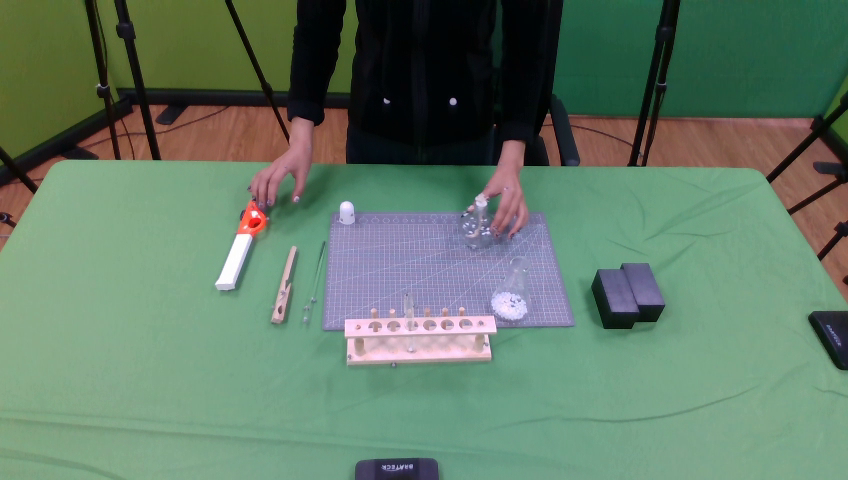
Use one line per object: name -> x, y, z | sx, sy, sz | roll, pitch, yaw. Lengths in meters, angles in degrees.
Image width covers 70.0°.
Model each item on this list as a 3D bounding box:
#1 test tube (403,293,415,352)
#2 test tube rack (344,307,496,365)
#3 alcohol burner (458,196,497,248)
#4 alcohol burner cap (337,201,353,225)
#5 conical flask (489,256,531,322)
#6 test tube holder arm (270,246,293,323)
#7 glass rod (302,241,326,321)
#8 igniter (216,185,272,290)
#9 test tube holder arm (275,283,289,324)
test tube -> -0.024, 0.133, 0.957 | 0.017, 0.151, 0.017 | 0, 48, 0
test tube rack -> -0.009, 0.154, 1.007 | 0.242, 0.085, 0.066 | -1, 46, -5
alcohol burner -> 0.107, -0.041, 1.181 | 0.078, 0.119, 0.077 | 3, 47, -3
alcohol burner cap -> -0.159, -0.056, 1.224 | 0.034, 0.048, 0.033 | 2, 47, -2
conical flask -> 0.158, 0.081, 1.061 | 0.075, 0.122, 0.075 | 2, 46, -2
test tube holder arm -> -0.259, 0.076, 1.106 | 0.013, 0.015, 0.177 | 28, 39, -27
glass rod -> -0.203, 0.071, 1.124 | 0.008, 0.008, 0.198 | 4, 44, 1
igniter -> -0.347, -0.014, 1.182 | 0.057, 0.025, 0.275 | -2, 45, 8
test tube holder arm -> -0.253, 0.111, 1.077 | 0.010, 0.015, 0.087 | 28, 38, -26
